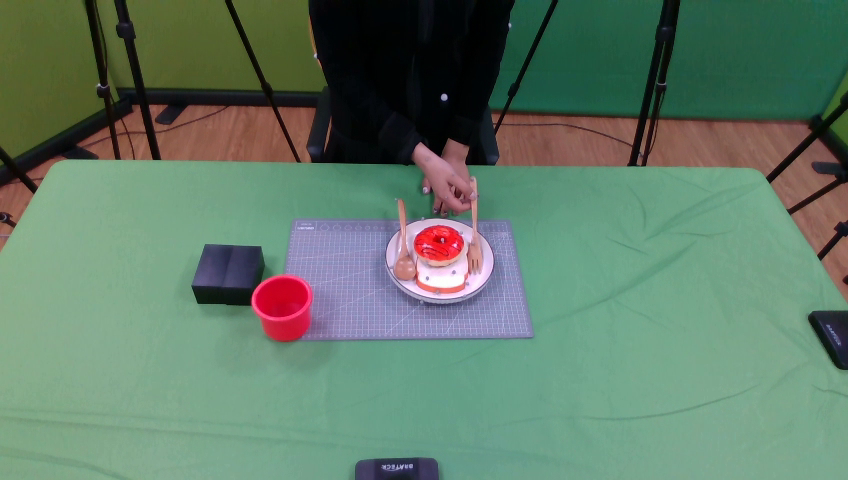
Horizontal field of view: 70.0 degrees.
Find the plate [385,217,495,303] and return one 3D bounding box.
[{"bbox_3d":[0.030,0.041,1.145,0.209,0.038,0.208,2,46,-2],"label":"plate"}]

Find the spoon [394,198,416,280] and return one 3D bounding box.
[{"bbox_3d":[-0.039,-0.005,1.166,0.042,0.022,0.192,2,59,-9],"label":"spoon"}]

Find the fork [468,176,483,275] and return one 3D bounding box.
[{"bbox_3d":[0.099,-0.032,1.175,0.028,0.019,0.206,-1,73,4],"label":"fork"}]

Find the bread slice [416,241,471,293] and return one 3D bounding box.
[{"bbox_3d":[0.037,0.046,1.144,0.105,0.019,0.131,4,45,2],"label":"bread slice"}]

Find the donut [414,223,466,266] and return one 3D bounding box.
[{"bbox_3d":[0.030,0.008,1.140,0.099,0.048,0.098,0,42,0],"label":"donut"}]
